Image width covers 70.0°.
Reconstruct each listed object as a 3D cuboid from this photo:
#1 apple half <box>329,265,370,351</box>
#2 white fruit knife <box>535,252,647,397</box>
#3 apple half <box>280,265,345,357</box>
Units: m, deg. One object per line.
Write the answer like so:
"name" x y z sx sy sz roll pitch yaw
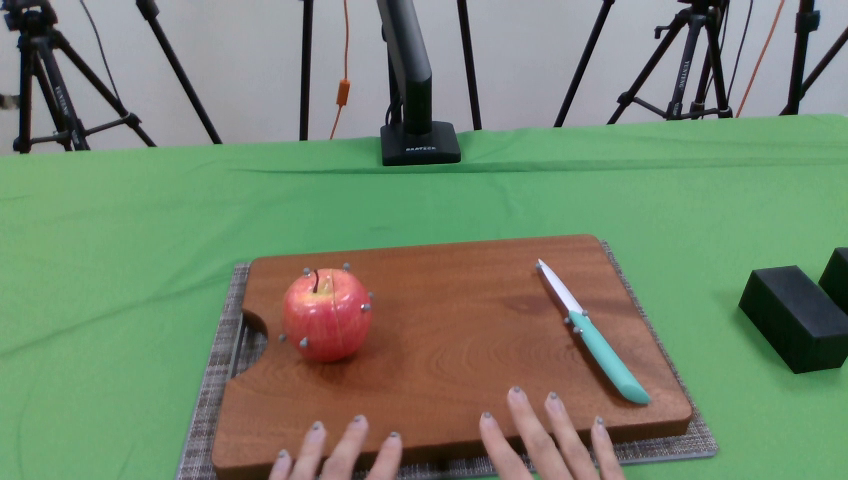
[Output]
"apple half" -0.065 0.061 0.559 0.033 0.082 0.080 -11 38 -7
"white fruit knife" 0.152 0.072 0.593 0.027 0.016 0.205 17 27 -28
"apple half" -0.103 0.068 0.554 0.053 0.075 0.080 -11 42 -6
